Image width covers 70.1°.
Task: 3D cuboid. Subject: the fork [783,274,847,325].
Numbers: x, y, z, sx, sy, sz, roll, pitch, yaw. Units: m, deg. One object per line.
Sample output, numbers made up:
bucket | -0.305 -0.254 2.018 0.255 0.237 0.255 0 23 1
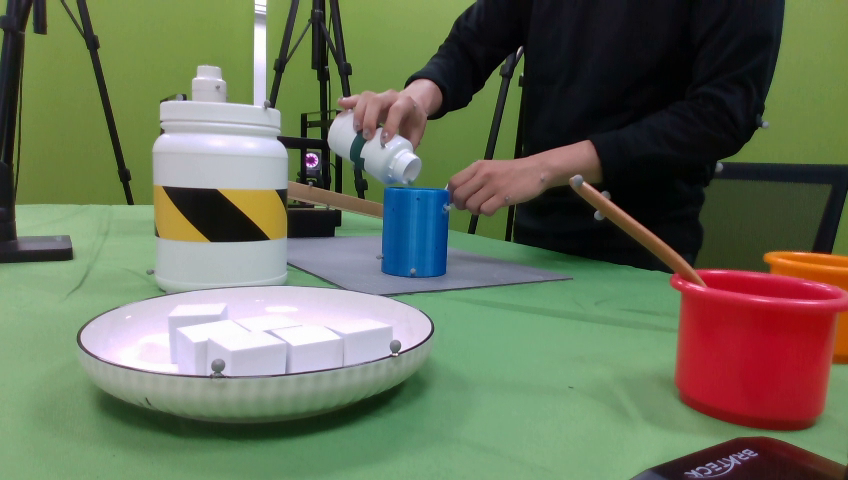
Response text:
fork | 0.332 0.018 0.443 0.028 0.018 0.207 -1 -36 -15

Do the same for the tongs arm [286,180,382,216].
tongs arm | -0.122 -0.066 1.147 0.387 0.026 0.050 11 -2 -37

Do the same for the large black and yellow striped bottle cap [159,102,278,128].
large black and yellow striped bottle cap | -0.207 -0.125 0.615 0.115 0.019 0.115 2 6 0

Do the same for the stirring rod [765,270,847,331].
stirring rod | 0.352 0.020 0.484 0.176 0.006 0.014 -40 -7 12

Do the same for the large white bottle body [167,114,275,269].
large white bottle body | -0.257 -0.063 0.771 0.131 0.184 0.130 2 7 0

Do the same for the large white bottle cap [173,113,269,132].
large white bottle cap | -0.254 -0.146 0.760 0.115 0.018 0.115 1 7 0

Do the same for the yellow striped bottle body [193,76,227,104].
yellow striped bottle body | -0.414 -0.268 1.169 0.063 0.120 0.063 2 7 0

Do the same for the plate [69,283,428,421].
plate | -0.102 0.066 0.381 0.208 0.039 0.207 2 7 0

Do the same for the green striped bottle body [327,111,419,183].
green striped bottle body | -0.063 -0.116 0.775 0.119 0.063 0.063 31 21 26

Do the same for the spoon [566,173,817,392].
spoon | 0.161 0.024 0.370 0.193 0.021 0.042 47 17 3

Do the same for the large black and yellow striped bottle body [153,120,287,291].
large black and yellow striped bottle body | -0.208 -0.042 0.626 0.131 0.184 0.130 2 7 0

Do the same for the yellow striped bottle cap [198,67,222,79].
yellow striped bottle cap | -0.411 -0.320 1.163 0.044 0.018 0.044 1 6 0

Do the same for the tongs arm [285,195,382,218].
tongs arm | -0.165 -0.074 1.216 0.389 0.027 0.028 11 -6 -24

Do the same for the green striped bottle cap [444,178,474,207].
green striped bottle cap | 0.048 -0.068 0.861 0.044 0.020 0.044 15 38 -12

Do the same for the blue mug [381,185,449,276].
blue mug | -0.018 -0.016 0.764 0.083 0.106 0.116 -2 8 -24
